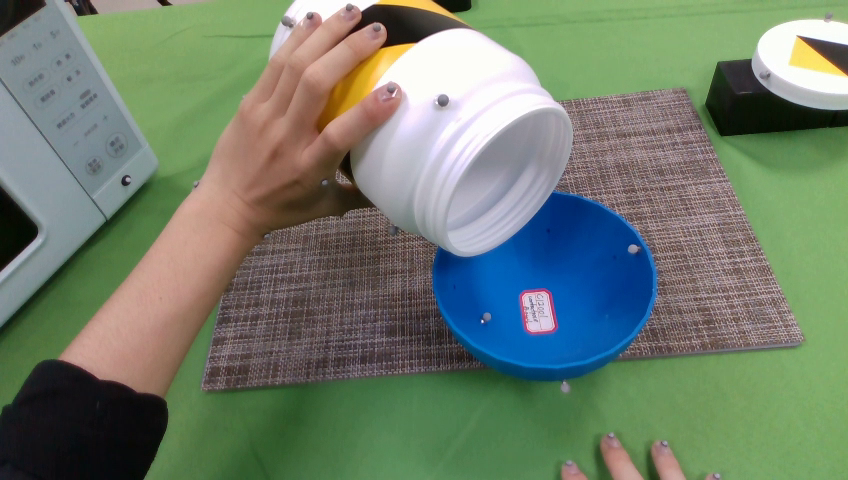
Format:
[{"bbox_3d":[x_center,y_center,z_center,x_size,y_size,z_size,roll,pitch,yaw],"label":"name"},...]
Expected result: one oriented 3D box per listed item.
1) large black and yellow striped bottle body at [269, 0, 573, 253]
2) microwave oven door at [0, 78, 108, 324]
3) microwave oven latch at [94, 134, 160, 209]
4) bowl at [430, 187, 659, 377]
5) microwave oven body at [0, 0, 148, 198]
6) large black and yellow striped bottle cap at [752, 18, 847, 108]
[{"bbox_3d":[-0.004,-0.088,0.407,0.131,0.132,0.182,-35,58,-19],"label":"large black and yellow striped bottle body"},{"bbox_3d":[-0.398,0.027,0.387,0.039,0.246,0.354,17,55,21],"label":"microwave oven door"},{"bbox_3d":[-0.290,-0.068,0.581,0.030,0.030,0.079,20,57,21],"label":"microwave oven latch"},{"bbox_3d":[0.083,0.041,0.438,0.151,0.077,0.150,-4,51,5],"label":"bowl"},{"bbox_3d":[-0.510,-0.042,0.463,0.324,0.263,0.439,18,56,20],"label":"microwave oven body"},{"bbox_3d":[0.360,-0.162,0.546,0.115,0.019,0.114,-4,50,6],"label":"large black and yellow striped bottle cap"}]
